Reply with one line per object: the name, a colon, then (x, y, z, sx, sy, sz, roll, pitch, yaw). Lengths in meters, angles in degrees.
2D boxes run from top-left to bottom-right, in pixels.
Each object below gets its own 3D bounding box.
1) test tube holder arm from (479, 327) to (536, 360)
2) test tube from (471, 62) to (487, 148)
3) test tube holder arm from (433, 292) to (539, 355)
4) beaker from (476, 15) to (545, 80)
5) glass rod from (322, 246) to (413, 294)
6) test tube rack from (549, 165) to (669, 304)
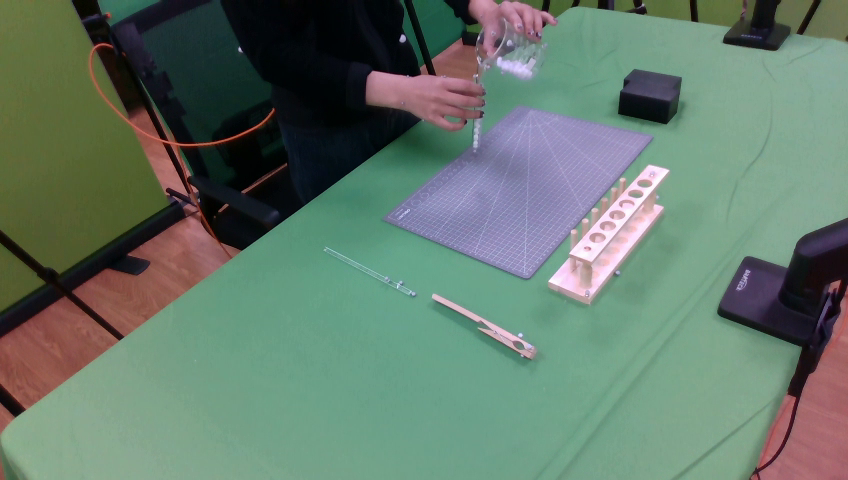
test tube holder arm: (0.110, 0.134, 0.805, 0.087, 0.015, 0.010, 29, 83, 36)
test tube: (0.093, -0.229, 1.036, 0.017, 0.150, 0.017, 2, 31, -1)
test tube holder arm: (0.081, 0.113, 0.832, 0.177, 0.015, 0.013, 28, 82, 36)
beaker: (0.146, -0.315, 1.012, 0.101, 0.084, 0.073, 16, 18, -35)
glass rod: (-0.093, 0.045, 0.956, 0.198, 0.008, 0.008, 24, 51, 33)
test tube rack: (0.279, -0.018, 0.902, 0.066, 0.085, 0.243, 24, 50, 33)
